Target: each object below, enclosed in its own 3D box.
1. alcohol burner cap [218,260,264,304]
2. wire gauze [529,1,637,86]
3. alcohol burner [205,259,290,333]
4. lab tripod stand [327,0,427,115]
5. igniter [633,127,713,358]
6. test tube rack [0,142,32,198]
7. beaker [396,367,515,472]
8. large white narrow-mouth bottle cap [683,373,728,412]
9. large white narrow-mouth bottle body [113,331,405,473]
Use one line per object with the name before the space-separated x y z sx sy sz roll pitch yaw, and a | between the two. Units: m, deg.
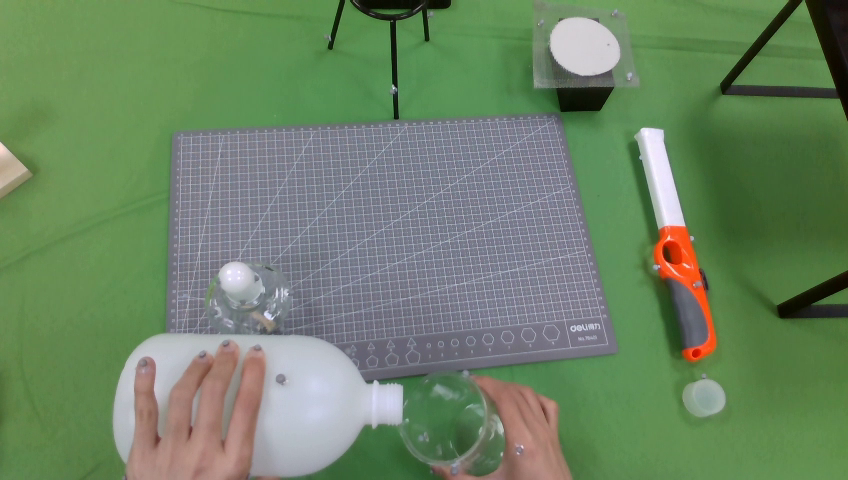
alcohol burner cap | -0.160 0.035 0.524 0.034 0.048 0.033 1 72 -2
wire gauze | 0.185 -0.232 0.718 0.121 0.011 0.124 3 67 -5
alcohol burner | -0.164 0.048 0.557 0.078 0.120 0.077 3 65 -7
lab tripod stand | -0.042 -0.237 0.681 0.149 0.132 0.147 3 68 -7
igniter | 0.276 -0.005 0.677 0.057 0.025 0.274 3 67 -16
test tube rack | -0.515 -0.027 0.568 0.066 0.085 0.242 41 69 11
beaker | 0.031 0.159 0.520 0.084 0.101 0.073 -10 61 21
large white narrow-mouth bottle cap | 0.285 0.155 0.616 0.038 0.024 0.037 2 66 -5
large white narrow-mouth bottle body | -0.112 0.120 0.448 0.195 0.102 0.101 1 67 -2
